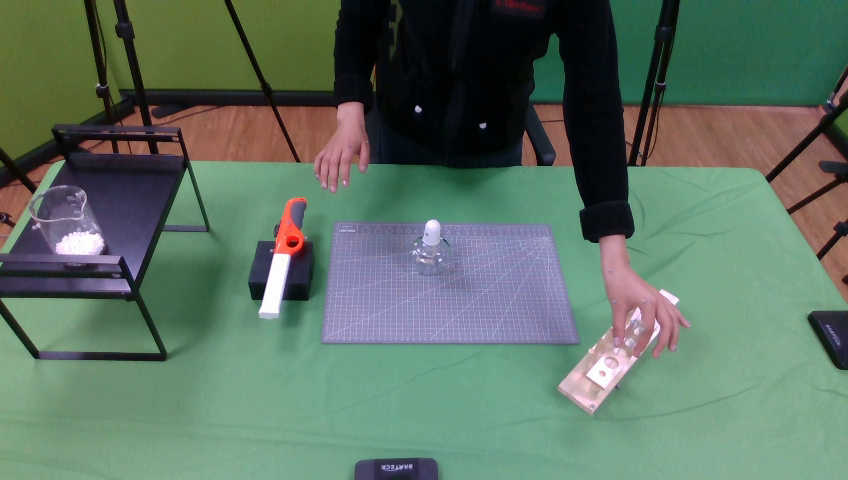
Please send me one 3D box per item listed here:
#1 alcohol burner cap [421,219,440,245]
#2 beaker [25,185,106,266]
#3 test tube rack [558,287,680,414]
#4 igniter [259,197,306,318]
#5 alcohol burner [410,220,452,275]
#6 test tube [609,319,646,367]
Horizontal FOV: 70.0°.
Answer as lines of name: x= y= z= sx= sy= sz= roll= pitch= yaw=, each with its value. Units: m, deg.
alcohol burner cap: x=0.014 y=-0.017 z=1.094 sx=0.034 sy=0.048 sz=0.033 roll=5 pitch=43 yaw=-4
beaker: x=-0.507 y=-0.017 z=0.871 sx=0.084 sy=0.101 sz=0.074 roll=23 pitch=49 yaw=17
test tube rack: x=0.327 y=0.170 z=1.009 sx=0.066 sy=0.085 sz=0.242 roll=35 pitch=54 yaw=27
igniter: x=-0.252 y=0.021 z=1.087 sx=0.057 sy=0.025 sz=0.275 roll=4 pitch=48 yaw=-3
alcohol burner: x=0.013 y=0.008 z=1.120 sx=0.078 sy=0.120 sz=0.077 roll=1 pitch=48 yaw=-1
test tube: x=0.312 y=0.170 z=0.940 sx=0.017 sy=0.151 sz=0.017 roll=3 pitch=48 yaw=-3
